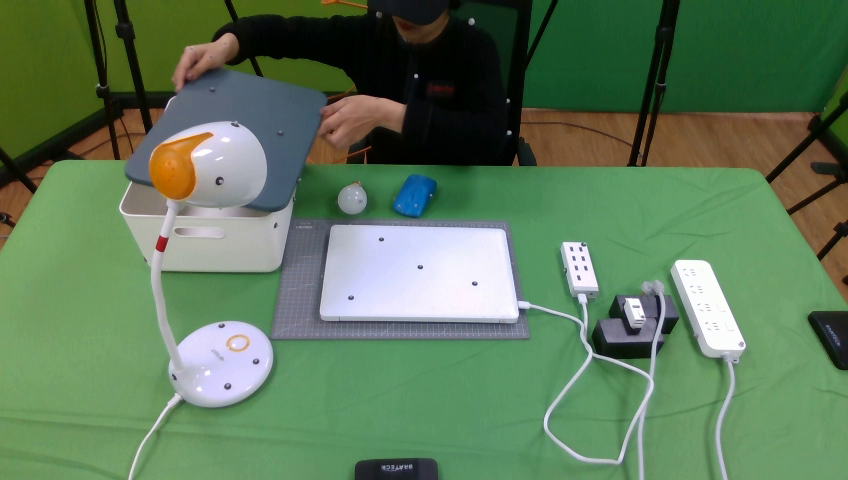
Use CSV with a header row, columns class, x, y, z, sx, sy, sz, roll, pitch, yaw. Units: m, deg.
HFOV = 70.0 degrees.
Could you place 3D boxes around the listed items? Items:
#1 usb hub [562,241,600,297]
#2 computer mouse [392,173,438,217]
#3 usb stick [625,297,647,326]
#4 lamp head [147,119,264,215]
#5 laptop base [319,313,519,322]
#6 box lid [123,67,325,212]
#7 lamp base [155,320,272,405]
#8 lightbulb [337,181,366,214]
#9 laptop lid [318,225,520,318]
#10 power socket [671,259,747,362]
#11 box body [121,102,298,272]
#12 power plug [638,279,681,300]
class,x,y,z,sx,sy,sz,roll,pitch,yaw
usb hub,0.300,0.055,1.162,0.049,0.025,0.124,2,46,-3
computer mouse,-0.018,-0.099,1.282,0.062,0.041,0.117,21,52,13
usb stick,0.360,0.116,1.034,0.021,0.027,0.059,-2,44,-2
lamp head,-0.276,-0.087,0.740,0.112,0.112,0.123,20,23,15
laptop base,-0.009,0.062,1.137,0.354,0.023,0.234,1,42,-3
box lid,-0.340,-0.193,1.091,0.263,0.015,0.369,12,44,-5
lamp base,-0.330,0.149,0.918,0.160,0.181,0.179,26,52,20
lightbulb,-0.148,-0.094,1.261,0.059,0.060,0.107,4,30,0
laptop lid,-0.009,0.052,1.131,0.357,0.013,0.240,2,43,-2
power socket,0.517,0.119,1.108,0.072,0.033,0.225,1,46,-2
box body,-0.387,-0.112,1.182,0.254,0.161,0.361,1,46,-3
power plug,0.434,0.099,1.119,0.073,0.053,0.035,33,38,-16
